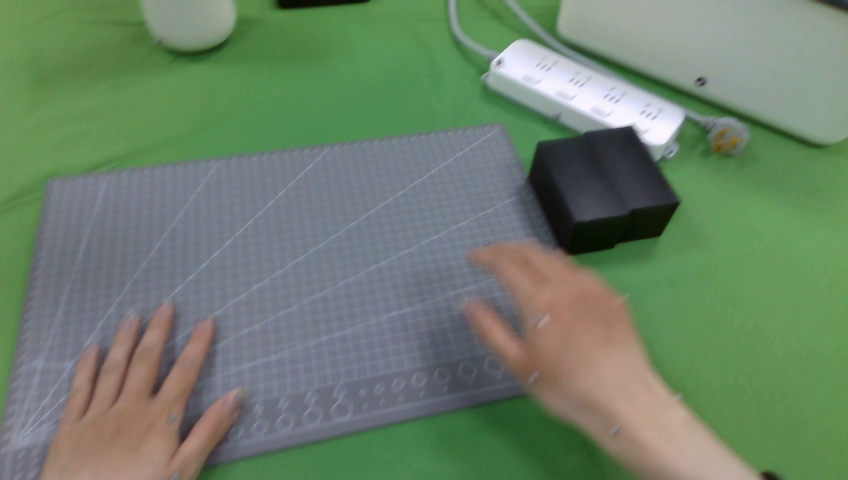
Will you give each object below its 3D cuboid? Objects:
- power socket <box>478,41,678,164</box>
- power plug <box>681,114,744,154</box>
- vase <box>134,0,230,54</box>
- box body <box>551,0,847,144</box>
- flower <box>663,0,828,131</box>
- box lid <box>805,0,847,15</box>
[{"bbox_3d":[0.166,-0.153,0.659,0.225,0.033,0.072,31,56,19],"label":"power socket"},{"bbox_3d":[0.301,-0.110,0.645,0.072,0.035,0.052,11,35,45],"label":"power plug"},{"bbox_3d":[-0.268,-0.300,0.636,0.098,0.201,0.097,2,51,-3],"label":"vase"},{"bbox_3d":[0.357,-0.291,0.695,0.362,0.162,0.253,28,56,17],"label":"box body"},{"bbox_3d":[0.358,-0.257,0.759,0.044,0.038,0.358,-36,67,0],"label":"flower"},{"bbox_3d":[0.362,-0.335,0.636,0.369,0.015,0.262,28,57,17],"label":"box lid"}]
